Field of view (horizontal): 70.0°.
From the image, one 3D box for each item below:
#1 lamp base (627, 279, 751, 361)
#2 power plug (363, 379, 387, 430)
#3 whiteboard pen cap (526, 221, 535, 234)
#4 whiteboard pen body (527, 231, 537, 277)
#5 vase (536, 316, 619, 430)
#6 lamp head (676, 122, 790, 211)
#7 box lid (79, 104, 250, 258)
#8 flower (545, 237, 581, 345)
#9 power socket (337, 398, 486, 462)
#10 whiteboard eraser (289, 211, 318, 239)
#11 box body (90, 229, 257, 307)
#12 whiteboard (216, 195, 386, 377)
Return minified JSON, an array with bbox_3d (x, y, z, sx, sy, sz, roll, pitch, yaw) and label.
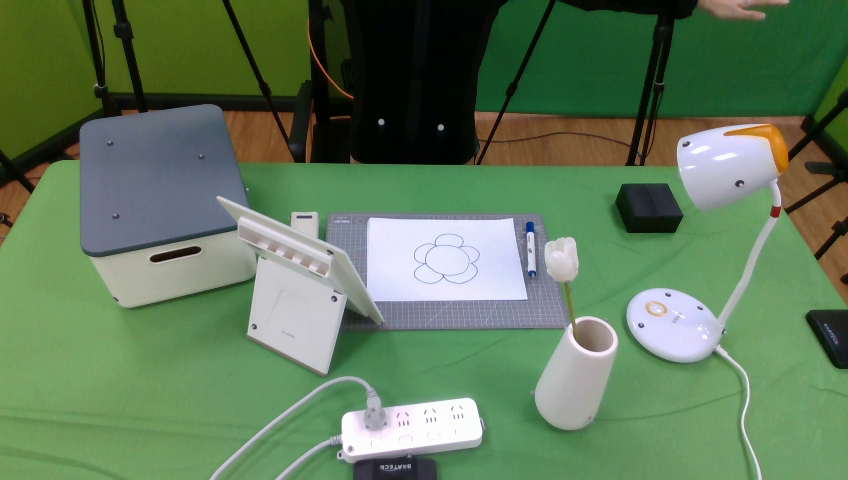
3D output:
[{"bbox_3d":[0.460,0.100,1.027,0.178,0.181,0.160,27,51,17],"label":"lamp base"},{"bbox_3d":[-0.071,0.252,0.911,0.035,0.053,0.072,3,40,0],"label":"power plug"},{"bbox_3d":[0.216,-0.022,1.234,0.018,0.018,0.033,6,44,1],"label":"whiteboard pen cap"},{"bbox_3d":[0.211,0.018,1.191,0.017,0.017,0.140,6,44,2],"label":"whiteboard pen body"},{"bbox_3d":[0.229,0.200,0.901,0.098,0.201,0.097,3,46,-3],"label":"vase"},{"bbox_3d":[0.423,-0.104,0.819,0.122,0.113,0.112,-13,33,40],"label":"lamp head"},{"bbox_3d":[-0.467,-0.121,1.075,0.264,0.015,0.369,-13,49,-17],"label":"box lid"},{"bbox_3d":[0.213,0.137,0.846,0.038,0.364,0.044,21,55,39],"label":"flower"},{"bbox_3d":[-0.018,0.285,0.914,0.227,0.033,0.071,-4,46,-8],"label":"power socket"},{"bbox_3d":[-0.234,-0.007,1.172,0.055,0.042,0.112,-3,47,-5],"label":"whiteboard eraser"},{"bbox_3d":[-0.471,-0.070,1.131,0.254,0.161,0.361,-14,49,-17],"label":"box body"},{"bbox_3d":[-0.212,0.093,0.938,0.216,0.307,0.143,24,70,17],"label":"whiteboard"}]
